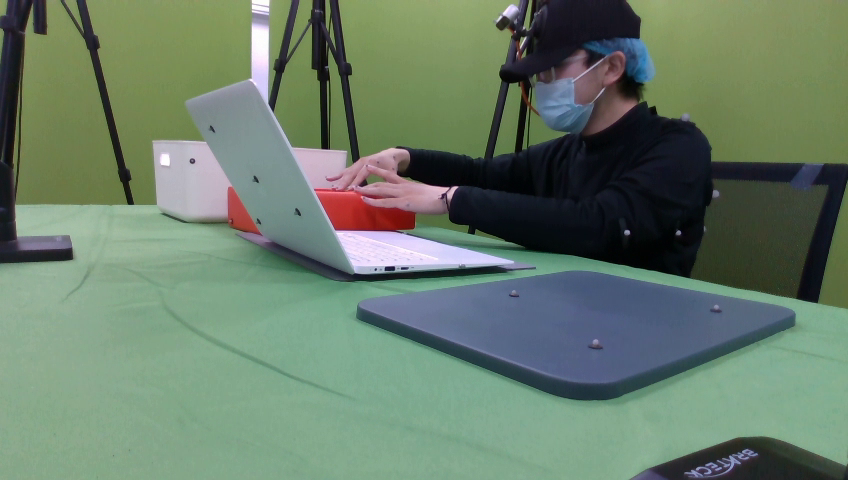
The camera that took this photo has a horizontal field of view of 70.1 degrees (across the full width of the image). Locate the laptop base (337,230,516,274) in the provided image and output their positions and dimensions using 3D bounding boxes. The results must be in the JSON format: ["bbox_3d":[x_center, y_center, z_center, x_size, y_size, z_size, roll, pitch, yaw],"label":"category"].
[{"bbox_3d":[-0.066,0.014,0.877,0.237,0.023,0.352,2,6,-32],"label":"laptop base"}]

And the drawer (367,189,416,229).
[{"bbox_3d":[-0.153,-0.061,1.193,0.213,0.073,0.193,-5,10,-35],"label":"drawer"}]

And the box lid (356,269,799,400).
[{"bbox_3d":[0.152,0.068,0.564,0.374,0.015,0.262,-4,10,-41],"label":"box lid"}]

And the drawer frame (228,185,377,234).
[{"bbox_3d":[-0.229,-0.060,1.136,0.215,0.082,0.200,-4,9,-38],"label":"drawer frame"}]

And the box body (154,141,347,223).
[{"bbox_3d":[-0.384,-0.132,1.346,0.366,0.160,0.253,-3,9,-36],"label":"box body"}]

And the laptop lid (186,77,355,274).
[{"bbox_3d":[-0.211,-0.081,0.772,0.013,0.242,0.355,-35,25,-23],"label":"laptop lid"}]

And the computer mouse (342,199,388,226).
[{"bbox_3d":[-0.120,-0.057,1.221,0.063,0.041,0.116,3,16,-29],"label":"computer mouse"}]
